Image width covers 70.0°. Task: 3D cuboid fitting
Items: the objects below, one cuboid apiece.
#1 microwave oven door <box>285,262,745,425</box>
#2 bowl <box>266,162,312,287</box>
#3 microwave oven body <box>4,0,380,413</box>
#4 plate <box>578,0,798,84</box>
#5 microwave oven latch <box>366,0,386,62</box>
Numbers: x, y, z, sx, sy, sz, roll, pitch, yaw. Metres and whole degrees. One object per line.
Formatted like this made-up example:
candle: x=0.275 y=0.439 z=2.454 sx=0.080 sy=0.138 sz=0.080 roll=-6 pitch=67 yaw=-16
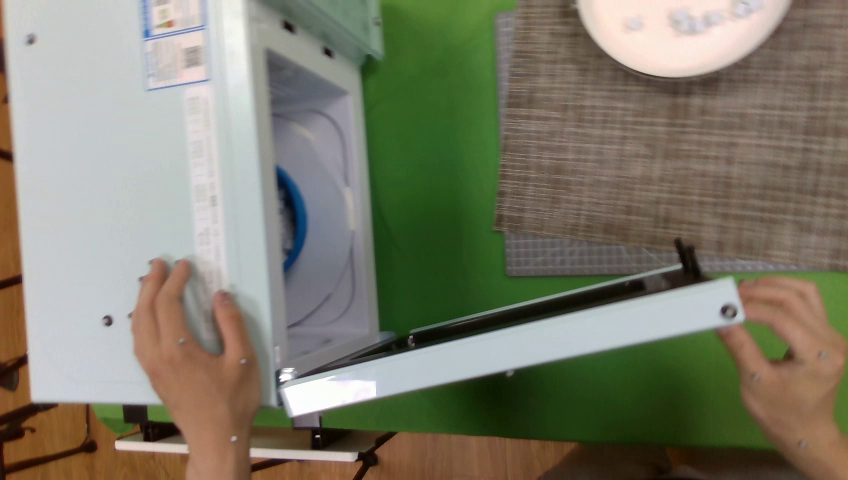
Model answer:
microwave oven door: x=0.084 y=0.088 z=0.557 sx=0.355 sy=0.245 sz=0.039 roll=-18 pitch=84 yaw=17
bowl: x=-0.184 y=-0.014 z=0.679 sx=0.151 sy=0.077 sz=0.151 roll=0 pitch=90 yaw=17
microwave oven body: x=-0.222 y=-0.064 z=0.658 sx=0.325 sy=0.261 sz=0.441 roll=-4 pitch=90 yaw=17
plate: x=0.265 y=-0.258 z=0.615 sx=0.208 sy=0.038 sz=0.209 roll=0 pitch=89 yaw=18
microwave oven latch: x=-0.063 y=-0.251 z=0.706 sx=0.030 sy=0.029 sz=0.079 roll=-4 pitch=90 yaw=17
